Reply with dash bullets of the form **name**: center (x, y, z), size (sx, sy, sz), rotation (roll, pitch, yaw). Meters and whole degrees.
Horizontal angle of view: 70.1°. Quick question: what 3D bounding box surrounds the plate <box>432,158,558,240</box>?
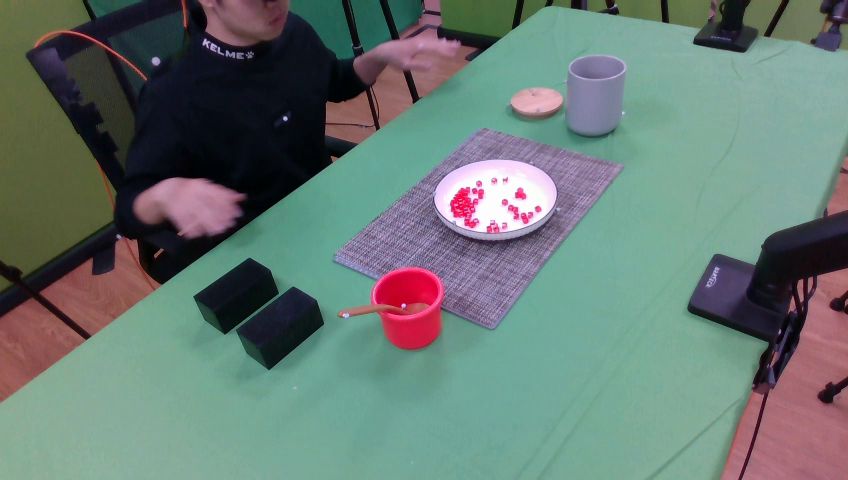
- **plate**: center (0.118, -0.066, 1.013), size (0.207, 0.039, 0.206), rotation (-4, 41, 4)

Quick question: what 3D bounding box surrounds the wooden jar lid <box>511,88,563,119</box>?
- **wooden jar lid**: center (0.237, -0.286, 1.271), size (0.108, 0.021, 0.108), rotation (-5, 42, 5)

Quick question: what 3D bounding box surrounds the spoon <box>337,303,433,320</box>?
- **spoon**: center (-0.048, 0.091, 0.777), size (0.041, 0.021, 0.195), rotation (23, 5, 32)

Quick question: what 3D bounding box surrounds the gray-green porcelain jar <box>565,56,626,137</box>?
- **gray-green porcelain jar**: center (0.325, -0.271, 1.159), size (0.106, 0.127, 0.105), rotation (-4, 41, 4)
